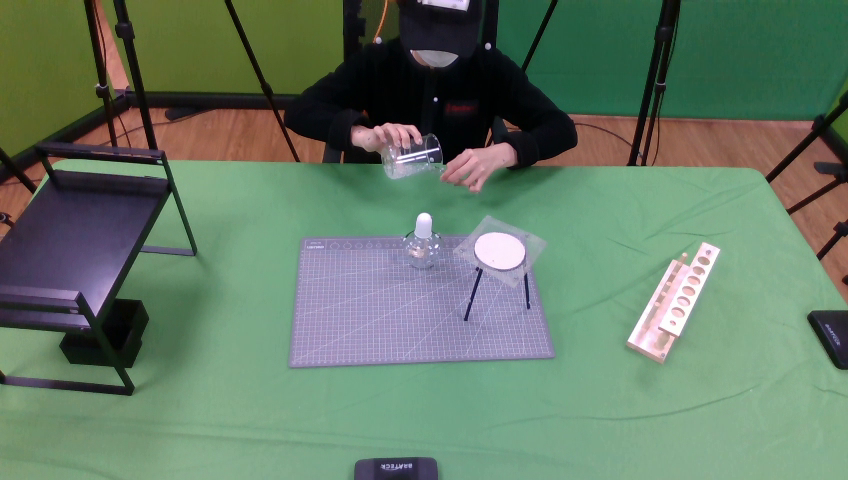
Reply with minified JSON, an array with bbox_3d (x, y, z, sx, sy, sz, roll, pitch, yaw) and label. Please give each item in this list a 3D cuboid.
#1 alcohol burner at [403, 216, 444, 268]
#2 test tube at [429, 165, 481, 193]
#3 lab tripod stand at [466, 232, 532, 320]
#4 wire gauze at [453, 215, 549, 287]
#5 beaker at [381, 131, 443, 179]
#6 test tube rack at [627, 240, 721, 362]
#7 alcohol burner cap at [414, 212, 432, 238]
[{"bbox_3d":[-0.001,-0.004,1.132,0.078,0.120,0.077,1,46,0],"label":"alcohol burner"},{"bbox_3d":[0.067,-0.123,1.238,0.151,0.017,0.017,19,31,-42],"label":"test tube"},{"bbox_3d":[0.125,0.059,1.065,0.148,0.132,0.147,1,45,0],"label":"lab tripod stand"},{"bbox_3d":[0.129,0.012,1.017,0.124,0.011,0.121,28,50,23],"label":"wire gauze"},{"bbox_3d":[-0.024,-0.156,1.146,0.100,0.084,0.073,-15,46,-20],"label":"beaker"},{"bbox_3d":[0.452,0.098,1.087,0.066,0.085,0.242,28,51,22],"label":"test tube rack"},{"bbox_3d":[0.000,-0.030,1.107,0.034,0.048,0.033,4,41,-3],"label":"alcohol burner cap"}]
